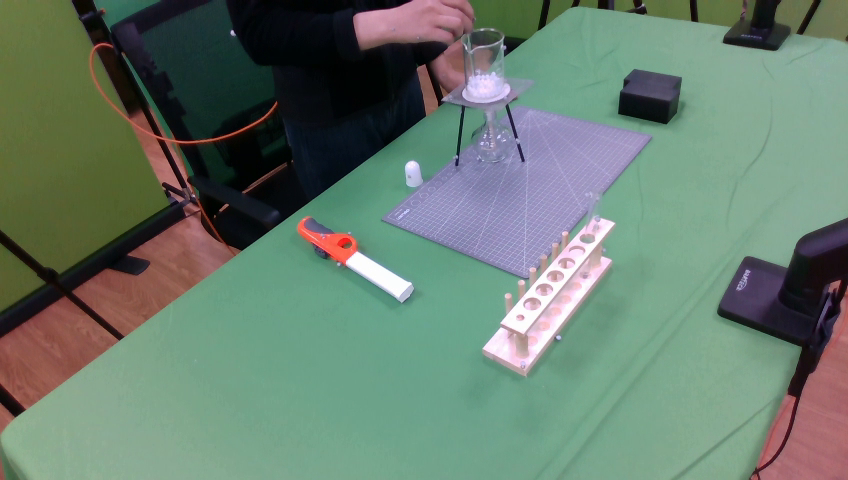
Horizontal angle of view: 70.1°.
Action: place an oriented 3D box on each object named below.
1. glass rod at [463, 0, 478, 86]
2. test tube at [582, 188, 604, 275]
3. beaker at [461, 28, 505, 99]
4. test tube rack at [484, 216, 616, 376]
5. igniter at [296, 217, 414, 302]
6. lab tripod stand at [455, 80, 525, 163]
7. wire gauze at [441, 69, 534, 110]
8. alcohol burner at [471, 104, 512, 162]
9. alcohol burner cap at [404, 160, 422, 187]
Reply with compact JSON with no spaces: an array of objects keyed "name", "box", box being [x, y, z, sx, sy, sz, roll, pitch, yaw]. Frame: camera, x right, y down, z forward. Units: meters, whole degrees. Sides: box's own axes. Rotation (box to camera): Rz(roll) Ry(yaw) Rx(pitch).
[{"name":"glass rod","box":[0.077,-0.343,1.010,0.008,0.201,0.008,-7,48,8]},{"name":"test tube","box":[0.228,-0.007,0.821,0.017,0.151,0.017,-3,42,3]},{"name":"beaker","box":[0.103,-0.304,1.051,0.073,0.101,0.084,19,48,29]},{"name":"test tube rack","box":[0.174,0.064,0.823,0.066,0.085,0.243,23,49,32]},{"name":"igniter","box":[-0.121,0.025,0.970,0.274,0.025,0.057,29,63,37]},{"name":"lab tripod stand","box":[0.120,-0.220,1.126,0.148,0.132,0.147,-4,40,4]},{"name":"wire gauze","box":[0.114,-0.268,1.082,0.120,0.011,0.125,22,47,29]},{"name":"alcohol burner","box":[0.125,-0.207,1.126,0.078,0.119,0.077,-5,43,5]},{"name":"alcohol burner cap","box":[-0.022,-0.125,1.118,0.034,0.048,0.033,-4,41,4]}]
